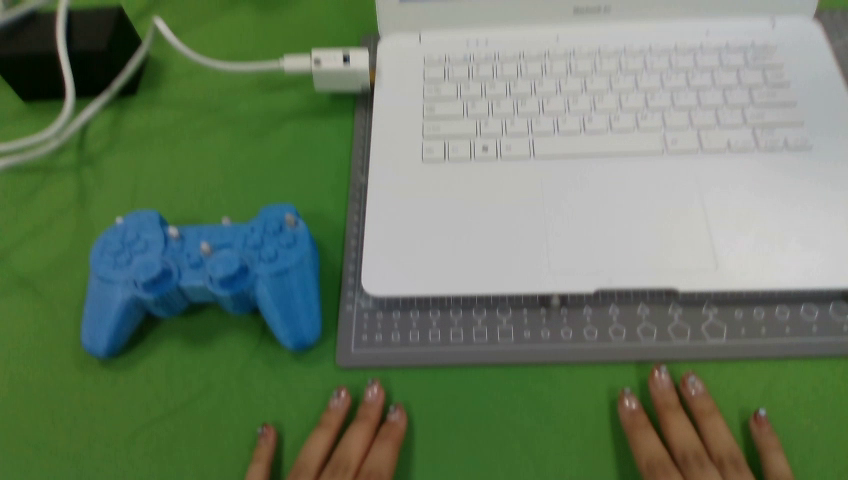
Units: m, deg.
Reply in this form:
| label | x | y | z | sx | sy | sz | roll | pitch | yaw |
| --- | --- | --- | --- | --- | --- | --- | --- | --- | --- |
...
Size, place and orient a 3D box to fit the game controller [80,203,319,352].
| label | x | y | z | sx | sy | sz | roll | pitch | yaw |
| --- | --- | --- | --- | --- | --- | --- | --- | --- | --- |
| game controller | -0.145 | 0.020 | 0.396 | 0.155 | 0.052 | 0.096 | -2 | 54 | 3 |

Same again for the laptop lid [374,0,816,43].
| label | x | y | z | sx | sy | sz | roll | pitch | yaw |
| --- | --- | --- | --- | --- | --- | --- | --- | --- | --- |
| laptop lid | 0.130 | -0.268 | 0.444 | 0.356 | 0.243 | 0.013 | -3 | 30 | 4 |

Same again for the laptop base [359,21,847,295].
| label | x | y | z | sx | sy | sz | roll | pitch | yaw |
| --- | --- | --- | --- | --- | --- | --- | --- | --- | --- |
| laptop base | 0.135 | -0.067 | 0.443 | 0.354 | 0.023 | 0.233 | -1 | 62 | 3 |

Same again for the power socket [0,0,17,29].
| label | x | y | z | sx | sy | sz | roll | pitch | yaw |
| --- | --- | --- | --- | --- | --- | --- | --- | --- | --- |
| power socket | -0.437 | -0.175 | 0.543 | 0.072 | 0.033 | 0.224 | 1 | 59 | 4 |

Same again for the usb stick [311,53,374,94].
| label | x | y | z | sx | sy | sz | roll | pitch | yaw |
| --- | --- | --- | --- | --- | --- | --- | --- | --- | --- |
| usb stick | -0.058 | -0.132 | 0.480 | 0.059 | 0.027 | 0.021 | 0 | 57 | -5 |
